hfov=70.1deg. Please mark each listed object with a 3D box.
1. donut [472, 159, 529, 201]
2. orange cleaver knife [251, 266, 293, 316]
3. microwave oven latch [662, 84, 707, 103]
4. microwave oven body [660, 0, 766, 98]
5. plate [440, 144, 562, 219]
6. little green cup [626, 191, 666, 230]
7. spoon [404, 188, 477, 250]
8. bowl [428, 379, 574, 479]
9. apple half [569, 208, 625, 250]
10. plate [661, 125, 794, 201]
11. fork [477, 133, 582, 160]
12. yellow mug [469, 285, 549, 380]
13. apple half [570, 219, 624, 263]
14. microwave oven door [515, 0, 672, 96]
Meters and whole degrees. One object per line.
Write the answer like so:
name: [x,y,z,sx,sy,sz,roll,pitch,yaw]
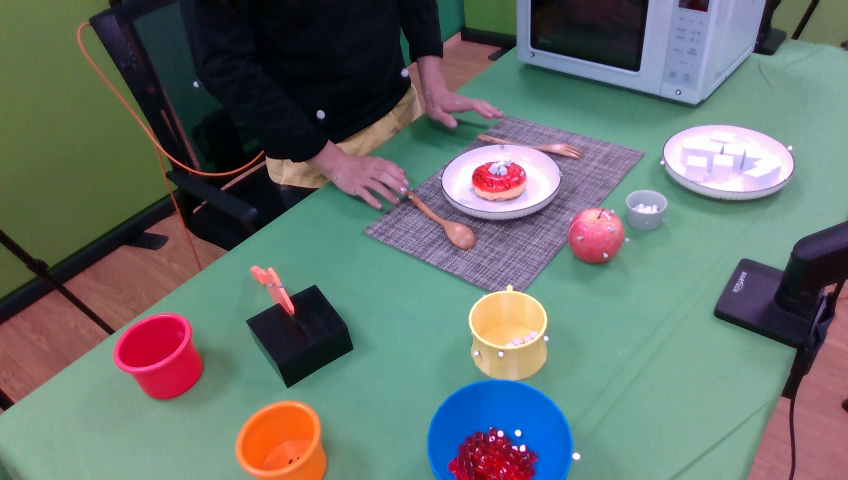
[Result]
donut: [0.132,-0.105,1.043,0.099,0.048,0.098,-5,38,4]
orange cleaver knife: [-0.221,0.071,0.873,0.012,0.077,0.210,-25,11,-21]
microwave oven latch: [0.517,-0.296,1.204,0.078,0.029,0.030,27,52,35]
microwave oven body: [0.472,-0.513,1.317,0.438,0.261,0.327,26,51,34]
plate: [0.134,-0.098,1.051,0.209,0.038,0.208,-4,40,4]
little green cup: [0.352,-0.046,0.963,0.061,0.039,0.061,-4,40,4]
spoon: [0.021,-0.040,1.019,0.042,0.022,0.192,-30,45,-23]
bowl: [0.082,0.233,0.644,0.151,0.077,0.150,-4,40,4]
apple half: [0.262,-0.014,0.913,0.080,0.075,0.053,4,37,20]
plate: [0.513,-0.128,1.035,0.207,0.039,0.206,-4,40,4]
fork: [0.199,-0.181,1.155,0.206,0.019,0.028,13,55,22]
yellow mug: [0.112,0.112,0.792,0.100,0.064,0.130,0,40,9]
apple half: [0.250,0.010,0.885,0.081,0.081,0.033,7,39,17]
microwave oven door: [0.343,-0.454,1.259,0.353,0.245,0.039,26,51,33]
